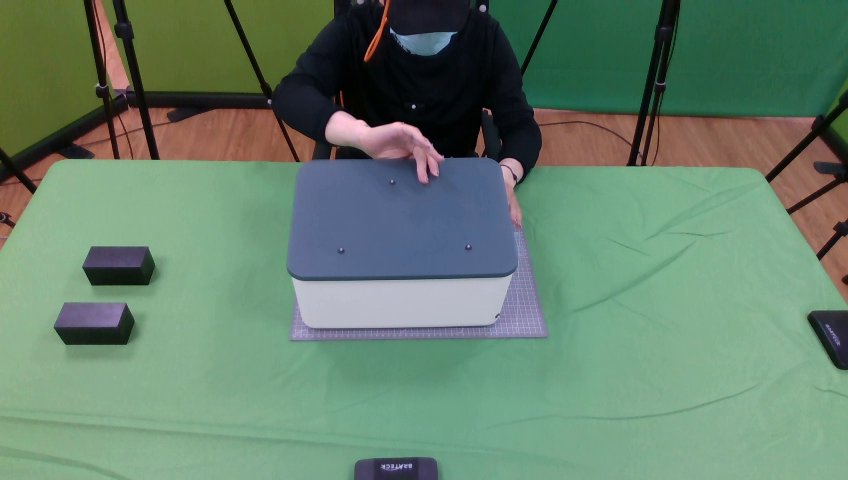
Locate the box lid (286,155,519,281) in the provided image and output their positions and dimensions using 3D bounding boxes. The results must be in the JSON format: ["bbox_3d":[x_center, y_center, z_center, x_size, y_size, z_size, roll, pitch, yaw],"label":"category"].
[{"bbox_3d":[-0.034,-0.044,1.012,0.372,0.015,0.261,-1,53,-3],"label":"box lid"}]

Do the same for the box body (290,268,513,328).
[{"bbox_3d":[-0.040,0.015,1.075,0.364,0.161,0.252,-1,47,-4],"label":"box body"}]
